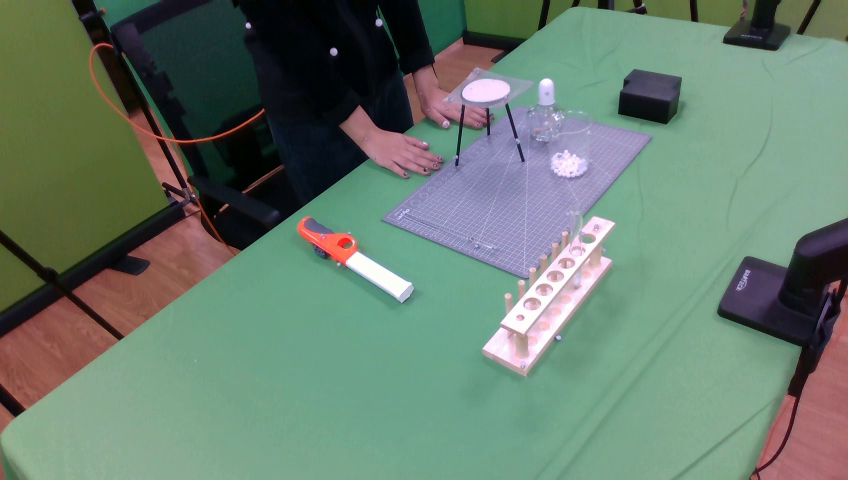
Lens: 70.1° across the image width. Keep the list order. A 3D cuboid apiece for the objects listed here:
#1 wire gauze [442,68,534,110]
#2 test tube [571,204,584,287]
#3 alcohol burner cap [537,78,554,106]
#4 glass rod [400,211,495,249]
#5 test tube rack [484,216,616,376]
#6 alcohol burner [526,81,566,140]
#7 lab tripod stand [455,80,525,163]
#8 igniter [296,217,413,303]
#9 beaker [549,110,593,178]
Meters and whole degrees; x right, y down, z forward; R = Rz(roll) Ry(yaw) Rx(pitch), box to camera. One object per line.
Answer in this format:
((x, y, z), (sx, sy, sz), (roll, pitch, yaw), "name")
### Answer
((0.114, -0.269, 1.081), (0.120, 0.011, 0.125), (21, 49, 29), "wire gauze")
((0.205, 0.012, 0.804), (0.017, 0.151, 0.017), (-7, 45, 8), "test tube")
((0.228, -0.279, 1.136), (0.034, 0.048, 0.033), (-6, 33, 4), "alcohol burner cap")
((0.035, -0.018, 1.002), (0.198, 0.008, 0.008), (21, 49, 35), "glass rod")
((0.174, 0.064, 0.823), (0.066, 0.085, 0.243), (23, 49, 32), "test tube rack")
((0.234, -0.252, 1.159), (0.078, 0.119, 0.077), (-4, 42, 4), "alcohol burner")
((0.120, -0.220, 1.126), (0.148, 0.132, 0.147), (-4, 40, 4), "lab tripod stand")
((-0.121, 0.025, 0.970), (0.274, 0.025, 0.057), (29, 63, 37), "igniter")
((0.255, -0.165, 1.063), (0.084, 0.101, 0.073), (-36, 46, -27), "beaker")
